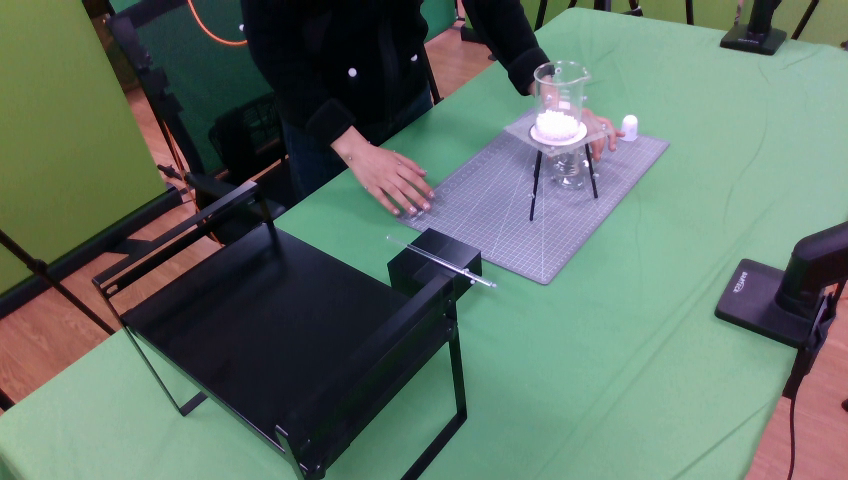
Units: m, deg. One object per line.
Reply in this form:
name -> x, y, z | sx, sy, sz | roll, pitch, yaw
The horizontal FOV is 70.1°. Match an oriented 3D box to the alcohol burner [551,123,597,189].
alcohol burner -> 0.257, -0.148, 1.034 | 0.078, 0.119, 0.077 | -5, 43, 5

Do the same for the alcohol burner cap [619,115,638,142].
alcohol burner cap -> 0.389, -0.214, 1.145 | 0.034, 0.048, 0.033 | -4, 41, 4

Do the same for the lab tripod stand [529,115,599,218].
lab tripod stand -> 0.218, -0.123, 0.995 | 0.148, 0.132, 0.147 | -4, 42, 4

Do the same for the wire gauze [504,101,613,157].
wire gauze -> 0.211, -0.175, 0.956 | 0.125, 0.011, 0.120 | -26, 43, -17

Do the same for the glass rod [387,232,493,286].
glass rod -> 0.018, 0.026, 0.878 | 0.198, 0.008, 0.008 | 25, 50, 33

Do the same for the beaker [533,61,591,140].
beaker -> 0.208, -0.210, 0.922 | 0.083, 0.101, 0.074 | 5, 44, 14
